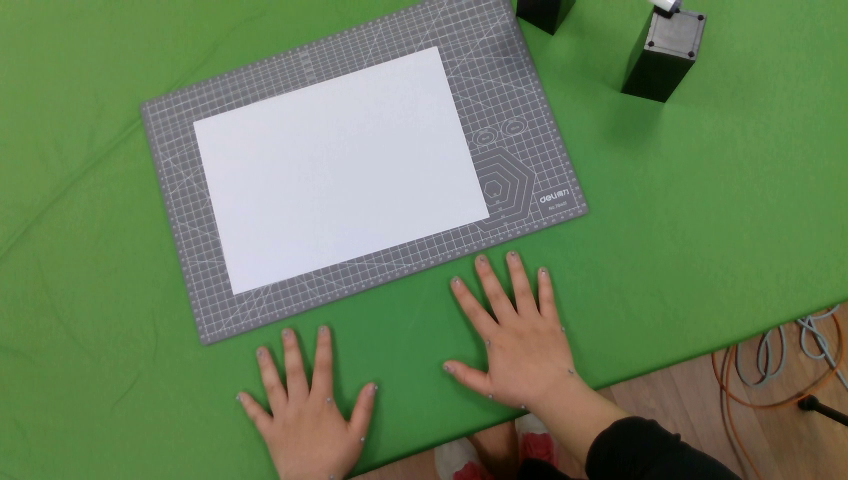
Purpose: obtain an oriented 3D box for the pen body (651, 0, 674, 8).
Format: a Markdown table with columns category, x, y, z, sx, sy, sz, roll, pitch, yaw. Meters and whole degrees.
| category | x | y | z | sx | sy | sz | roll | pitch | yaw |
| --- | --- | --- | --- | --- | --- | --- | --- | --- | --- |
| pen body | 0.175 | -0.263 | 0.582 | 0.143 | 0.017 | 0.017 | 33 | 86 | 8 |
